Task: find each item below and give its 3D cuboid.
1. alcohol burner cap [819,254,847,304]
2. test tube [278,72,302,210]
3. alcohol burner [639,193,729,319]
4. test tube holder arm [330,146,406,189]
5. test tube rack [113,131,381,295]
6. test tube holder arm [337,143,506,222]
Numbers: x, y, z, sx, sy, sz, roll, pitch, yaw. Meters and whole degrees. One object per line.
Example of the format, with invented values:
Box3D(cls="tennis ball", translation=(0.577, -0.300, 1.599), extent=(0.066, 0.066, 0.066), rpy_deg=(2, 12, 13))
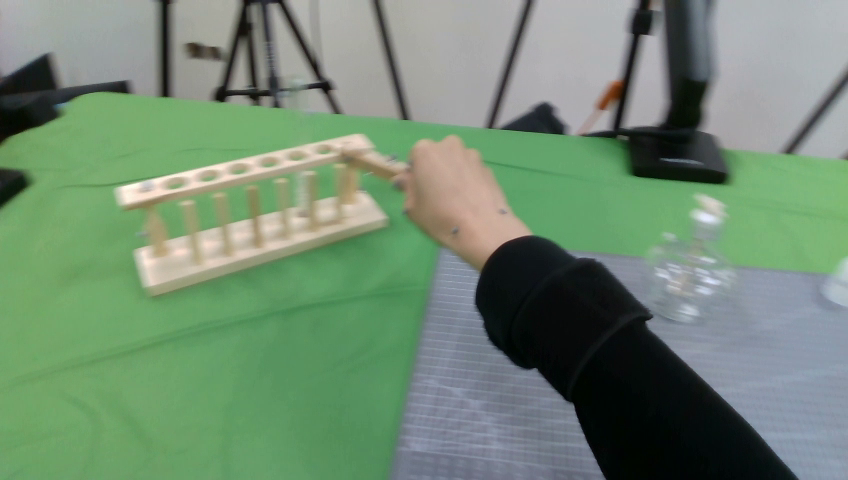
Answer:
Box3D(cls="alcohol burner cap", translation=(0.402, 0.034, 0.576), extent=(0.034, 0.048, 0.033), rpy_deg=(1, 38, 0))
Box3D(cls="test tube", translation=(-0.133, -0.095, 0.612), extent=(0.017, 0.151, 0.017), rpy_deg=(3, 36, -2))
Box3D(cls="alcohol burner", translation=(0.235, 0.012, 0.540), extent=(0.078, 0.120, 0.077), rpy_deg=(0, 36, 0))
Box3D(cls="test tube holder arm", translation=(-0.047, -0.063, 0.526), extent=(0.087, 0.015, 0.010), rpy_deg=(23, 44, 30))
Box3D(cls="test tube rack", translation=(-0.168, -0.033, 0.612), extent=(0.243, 0.086, 0.066), rpy_deg=(-18, 42, -24))
Box3D(cls="test tube holder arm", translation=(-0.008, -0.051, 0.507), extent=(0.177, 0.015, 0.013), rpy_deg=(23, 44, 30))
